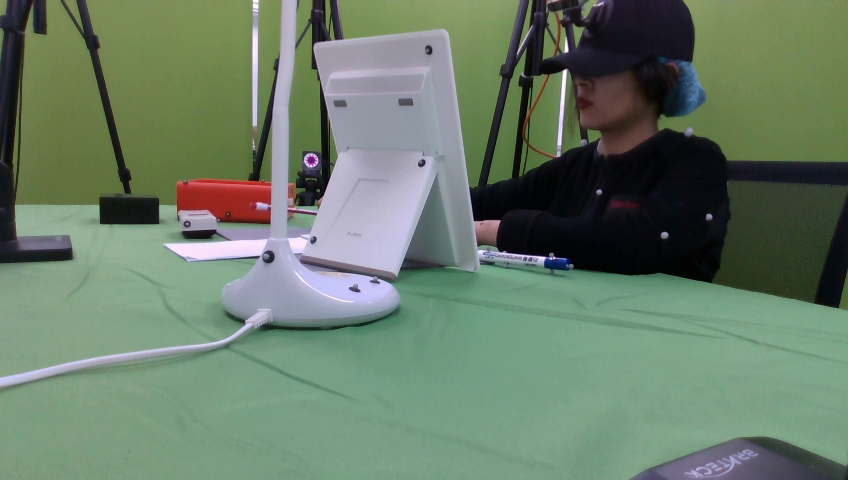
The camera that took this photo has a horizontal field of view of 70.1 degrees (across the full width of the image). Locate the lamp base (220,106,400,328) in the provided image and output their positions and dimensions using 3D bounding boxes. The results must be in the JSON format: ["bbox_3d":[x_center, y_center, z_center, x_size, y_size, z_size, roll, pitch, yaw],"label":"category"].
[{"bbox_3d":[-0.101,-0.023,0.531,0.160,0.180,0.179,4,10,10],"label":"lamp base"}]

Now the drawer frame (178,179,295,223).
[{"bbox_3d":[-0.397,-0.088,1.315,0.214,0.082,0.201,1,8,-8],"label":"drawer frame"}]

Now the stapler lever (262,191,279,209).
[{"bbox_3d":[-0.329,-0.086,1.306,0.027,0.040,0.118,9,3,-9],"label":"stapler lever"}]

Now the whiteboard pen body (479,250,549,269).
[{"bbox_3d":[0.130,0.028,0.827,0.140,0.017,0.017,7,8,38],"label":"whiteboard pen body"}]

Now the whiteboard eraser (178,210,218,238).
[{"bbox_3d":[-0.380,-0.027,1.014,0.056,0.042,0.112,0,8,-25],"label":"whiteboard eraser"}]

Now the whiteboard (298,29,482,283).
[{"bbox_3d":[-0.075,-0.082,0.742,0.216,0.305,0.144,9,29,37],"label":"whiteboard"}]

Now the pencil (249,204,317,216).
[{"bbox_3d":[-0.229,-0.051,1.127,0.195,0.012,0.012,6,5,-32],"label":"pencil"}]

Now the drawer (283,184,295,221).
[{"bbox_3d":[-0.394,-0.087,1.317,0.212,0.073,0.194,1,8,-7],"label":"drawer"}]

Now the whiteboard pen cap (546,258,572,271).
[{"bbox_3d":[0.175,0.032,0.790,0.033,0.018,0.018,3,7,37],"label":"whiteboard pen cap"}]

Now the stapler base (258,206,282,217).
[{"bbox_3d":[-0.331,-0.065,1.305,0.041,0.024,0.130,9,-2,-9],"label":"stapler base"}]
